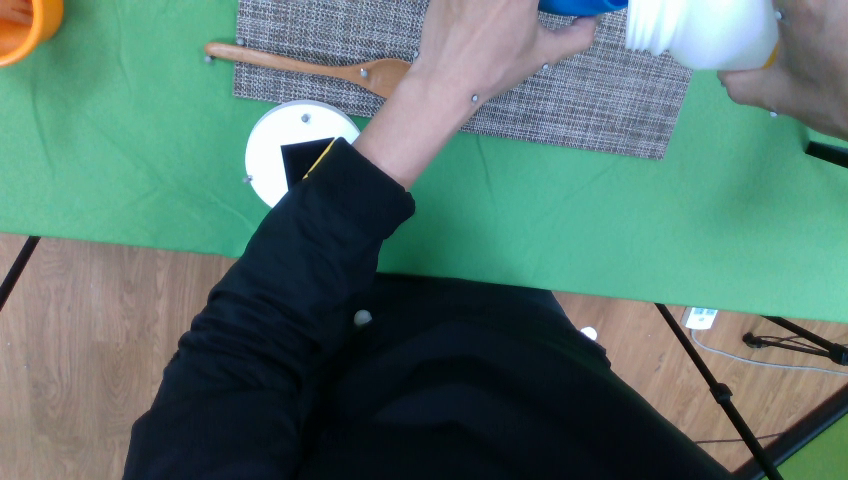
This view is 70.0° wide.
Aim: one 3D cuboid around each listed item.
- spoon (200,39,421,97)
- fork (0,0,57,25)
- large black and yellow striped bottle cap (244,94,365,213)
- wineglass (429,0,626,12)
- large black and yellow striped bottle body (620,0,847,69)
[{"bbox_3d":[-0.098,-0.158,0.541,0.194,0.021,0.042,4,135,-15],"label":"spoon"},{"bbox_3d":[-0.357,-0.181,0.404,0.208,0.018,0.028,-7,133,-59],"label":"fork"},{"bbox_3d":[-0.113,-0.081,0.581,0.115,0.018,0.116,-6,120,-10],"label":"large black and yellow striped bottle cap"},{"bbox_3d":[0.073,-0.210,0.456,0.074,0.170,0.074,-17,117,-37],"label":"wineglass"},{"bbox_3d":[0.211,-0.165,0.341,0.183,0.130,0.131,6,116,14],"label":"large black and yellow striped bottle body"}]
